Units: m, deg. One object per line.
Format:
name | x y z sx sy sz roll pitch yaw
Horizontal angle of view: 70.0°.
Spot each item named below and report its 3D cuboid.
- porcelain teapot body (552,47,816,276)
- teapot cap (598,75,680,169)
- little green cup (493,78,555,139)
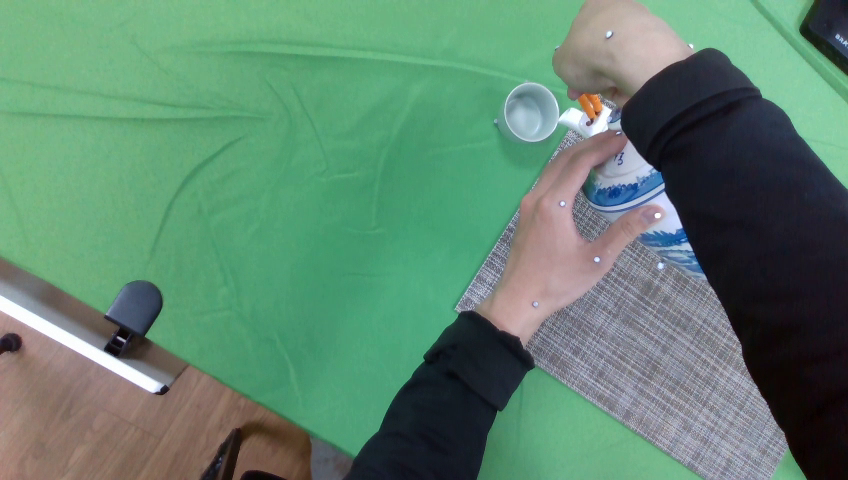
porcelain teapot body | 0.190 -0.082 0.527 0.227 0.204 0.145 30 93 -21
teapot cap | 0.167 -0.097 0.485 0.044 0.085 0.085 30 84 -17
little green cup | 0.104 -0.137 0.647 0.062 0.038 0.061 0 89 -13
